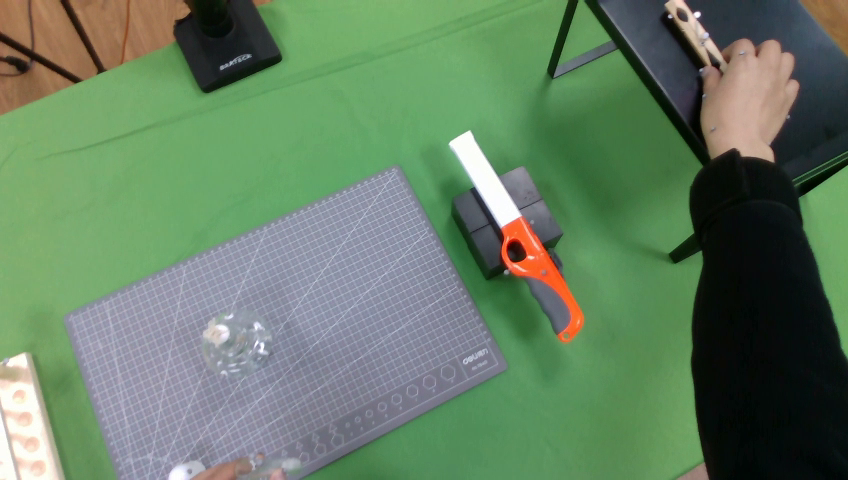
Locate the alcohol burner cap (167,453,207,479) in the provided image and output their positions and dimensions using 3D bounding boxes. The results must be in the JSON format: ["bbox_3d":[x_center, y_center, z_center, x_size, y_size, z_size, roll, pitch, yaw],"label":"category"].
[{"bbox_3d":[-0.261,0.250,0.659,0.034,0.048,0.033,0,72,-1],"label":"alcohol burner cap"}]

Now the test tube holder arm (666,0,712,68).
[{"bbox_3d":[0.282,-0.219,0.636,0.010,0.015,0.087,-33,76,25],"label":"test tube holder arm"}]

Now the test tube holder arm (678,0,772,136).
[{"bbox_3d":[0.306,-0.183,0.624,0.013,0.015,0.177,-34,76,25],"label":"test tube holder arm"}]

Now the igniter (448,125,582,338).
[{"bbox_3d":[0.106,-0.015,0.705,0.057,0.025,0.274,-29,74,3],"label":"igniter"}]

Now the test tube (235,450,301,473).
[{"bbox_3d":[-0.133,0.193,0.534,0.017,0.151,0.017,-1,71,4],"label":"test tube"}]

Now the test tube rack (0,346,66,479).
[{"bbox_3d":[-0.447,0.231,0.643,0.067,0.085,0.241,-24,75,-8],"label":"test tube rack"}]

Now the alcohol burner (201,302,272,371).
[{"bbox_3d":[-0.211,0.104,0.667,0.078,0.119,0.077,0,74,0],"label":"alcohol burner"}]
